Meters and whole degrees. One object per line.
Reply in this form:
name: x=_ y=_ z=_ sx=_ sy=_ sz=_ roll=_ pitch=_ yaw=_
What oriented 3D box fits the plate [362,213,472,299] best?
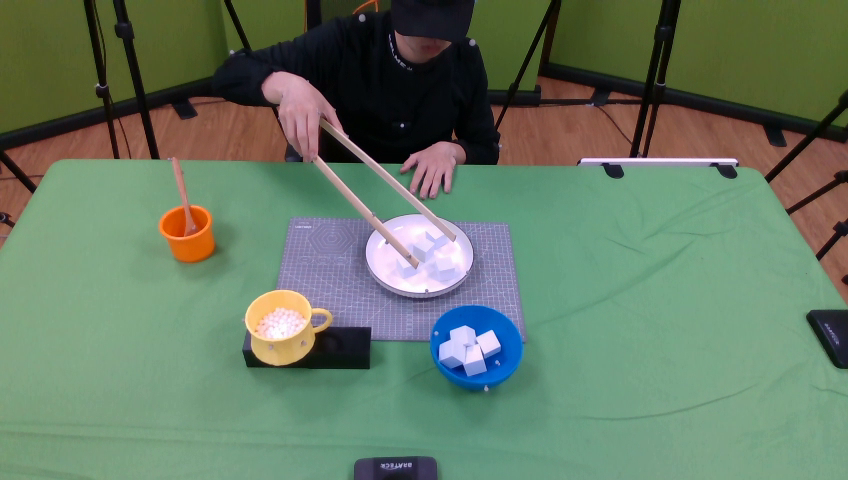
plate: x=-0.014 y=0.034 z=1.150 sx=0.208 sy=0.039 sz=0.206 roll=3 pitch=46 yaw=-2

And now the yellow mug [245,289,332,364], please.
yellow mug: x=-0.210 y=0.133 z=0.954 sx=0.131 sy=0.064 sz=0.099 roll=-9 pitch=48 yaw=-14

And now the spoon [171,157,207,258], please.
spoon: x=-0.444 y=-0.061 z=1.133 sx=0.042 sy=0.193 sz=0.021 roll=-12 pitch=4 yaw=-20

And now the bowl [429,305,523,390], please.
bowl: x=0.080 y=0.188 z=0.985 sx=0.151 sy=0.077 sz=0.150 roll=3 pitch=46 yaw=-3

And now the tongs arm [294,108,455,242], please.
tongs arm: x=-0.092 y=-0.122 z=1.088 sx=0.386 sy=0.028 sz=0.028 roll=40 pitch=63 yaw=15

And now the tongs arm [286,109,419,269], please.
tongs arm: x=-0.128 y=-0.096 z=1.063 sx=0.051 sy=0.026 sz=0.383 roll=-37 pitch=71 yaw=-28
